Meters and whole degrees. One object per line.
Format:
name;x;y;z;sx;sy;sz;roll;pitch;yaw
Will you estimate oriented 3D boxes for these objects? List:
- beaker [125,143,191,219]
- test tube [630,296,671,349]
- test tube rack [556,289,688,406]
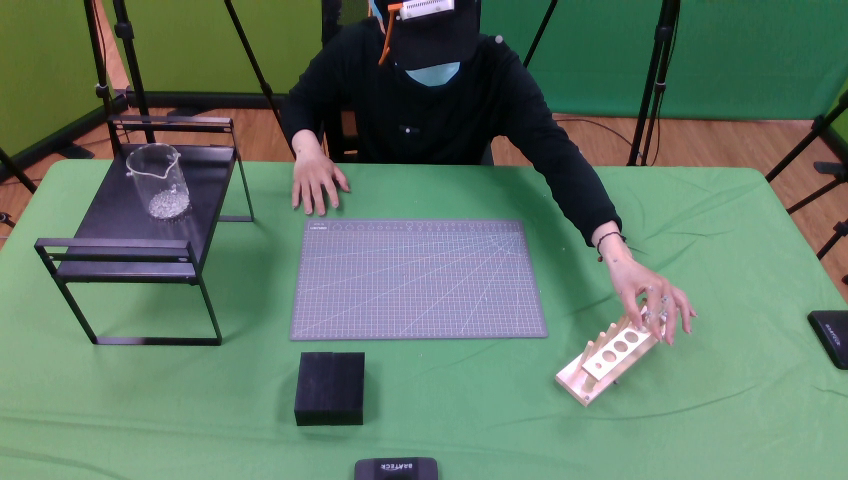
beaker;-0.409;-0.088;0.946;0.074;0.101;0.083;-28;54;-26
test tube;0.359;0.137;0.974;0.017;0.151;0.017;4;51;-5
test tube rack;0.332;0.166;1.014;0.242;0.085;0.066;-30;55;-28
